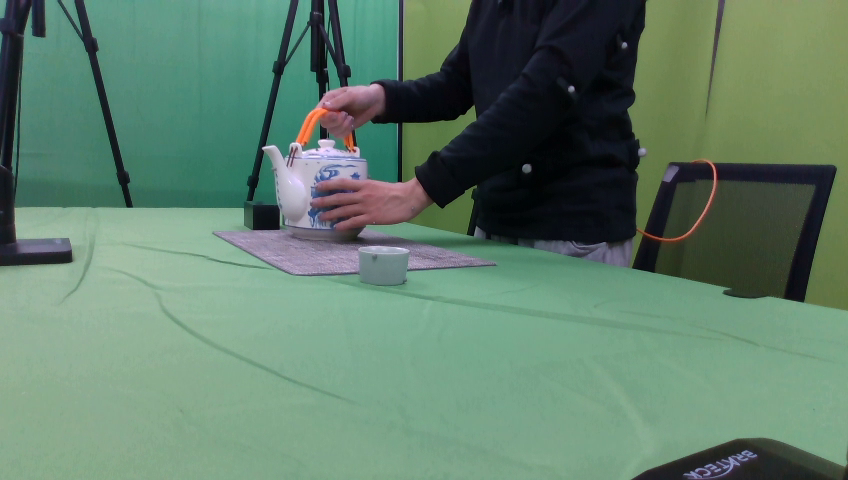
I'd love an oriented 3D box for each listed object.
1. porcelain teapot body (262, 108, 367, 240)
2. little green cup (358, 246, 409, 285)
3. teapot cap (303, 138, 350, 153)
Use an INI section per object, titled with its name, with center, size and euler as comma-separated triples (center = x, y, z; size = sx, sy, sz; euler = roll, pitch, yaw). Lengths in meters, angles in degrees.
[porcelain teapot body]
center = -0.190, -0.115, 1.041
size = 0.144, 0.225, 0.206
euler = 8, 10, 36
[little green cup]
center = -0.048, 0.030, 0.707
size = 0.061, 0.038, 0.061
euler = 2, 8, 0
[teapot cap]
center = -0.172, -0.157, 1.060
size = 0.085, 0.044, 0.085
euler = -1, 7, 0
